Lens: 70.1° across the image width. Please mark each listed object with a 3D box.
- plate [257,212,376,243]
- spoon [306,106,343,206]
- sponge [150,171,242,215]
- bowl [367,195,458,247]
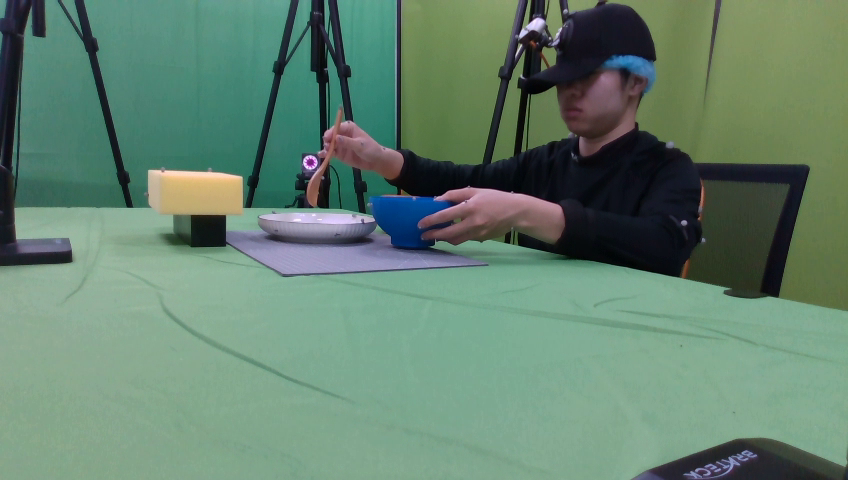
[{"bbox_3d":[-0.189,-0.023,1.072,0.209,0.038,0.209,3,7,0],"label":"plate"},{"bbox_3d":[-0.177,-0.154,1.102,0.021,0.193,0.042,18,-7,16],"label":"spoon"},{"bbox_3d":[-0.379,-0.079,0.994,0.119,0.061,0.206,-1,7,-29],"label":"sponge"},{"bbox_3d":[-0.020,-0.031,0.997,0.151,0.077,0.151,2,7,0],"label":"bowl"}]
